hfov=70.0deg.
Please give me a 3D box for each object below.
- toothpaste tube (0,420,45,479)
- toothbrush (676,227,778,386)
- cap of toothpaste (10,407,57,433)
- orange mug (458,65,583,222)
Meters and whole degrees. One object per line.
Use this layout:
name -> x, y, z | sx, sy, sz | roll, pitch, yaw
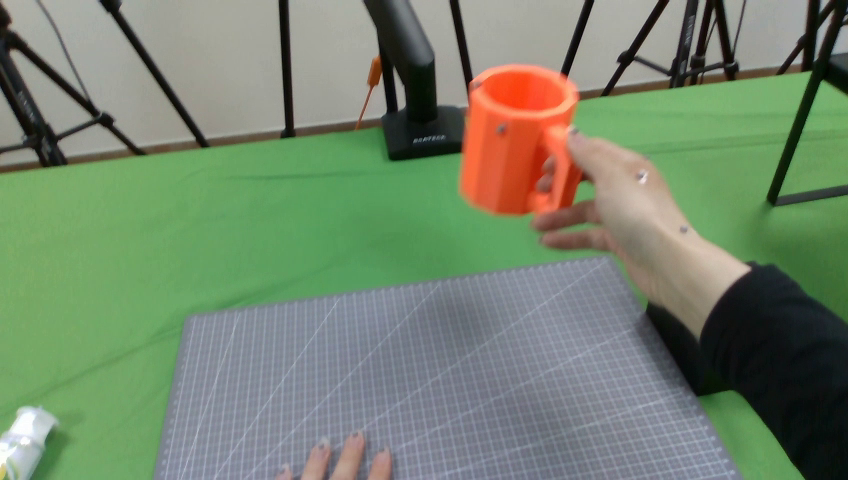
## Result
toothpaste tube -> -0.339, 0.208, 0.455 | 0.055, 0.035, 0.163 | -2, 44, 9
toothbrush -> 0.259, 0.049, 0.525 | 0.014, 0.017, 0.180 | -3, 41, -3
cap of toothpaste -> -0.330, 0.152, 0.510 | 0.037, 0.038, 0.011 | 0, 44, 6
orange mug -> 0.083, -0.076, 0.507 | 0.083, 0.101, 0.125 | -18, 42, -22
